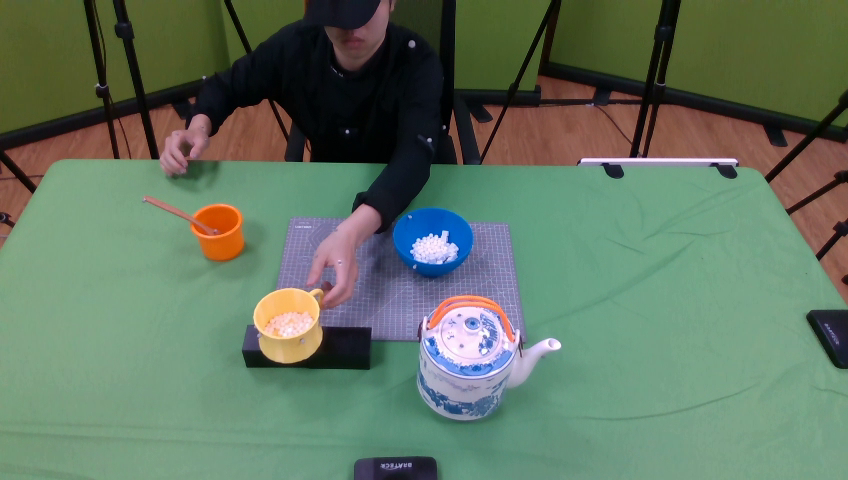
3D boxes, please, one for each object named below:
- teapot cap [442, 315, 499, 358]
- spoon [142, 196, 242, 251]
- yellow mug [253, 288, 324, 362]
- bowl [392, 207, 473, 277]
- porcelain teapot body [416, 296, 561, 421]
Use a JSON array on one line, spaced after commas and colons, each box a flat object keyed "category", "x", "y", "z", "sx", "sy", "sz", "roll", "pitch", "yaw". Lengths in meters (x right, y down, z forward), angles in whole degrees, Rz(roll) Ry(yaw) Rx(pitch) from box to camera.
[{"category": "teapot cap", "x": 0.068, "y": 0.133, "z": 0.880, "sx": 0.085, "sy": 0.044, "sz": 0.084, "roll": 4, "pitch": 45, "yaw": -4}, {"category": "spoon", "x": -0.421, "y": -0.032, "z": 1.108, "sx": 0.021, "sy": 0.195, "sz": 0.041, "roll": -32, "pitch": 39, "yaw": 28}, {"category": "yellow mug", "x": -0.205, "y": 0.124, "z": 0.963, "sx": 0.099, "sy": 0.064, "sz": 0.130, "roll": 27, "pitch": 48, "yaw": 21}, {"category": "bowl", "x": 0.014, "y": 0.016, "z": 1.140, "sx": 0.151, "sy": 0.077, "sz": 0.150, "roll": 2, "pitch": 46, "yaw": -2}, {"category": "porcelain teapot body", "x": 0.094, "y": 0.164, "z": 0.907, "sx": 0.205, "sy": 0.226, "sz": 0.144, "roll": 6, "pitch": 45, "yaw": 1}]
